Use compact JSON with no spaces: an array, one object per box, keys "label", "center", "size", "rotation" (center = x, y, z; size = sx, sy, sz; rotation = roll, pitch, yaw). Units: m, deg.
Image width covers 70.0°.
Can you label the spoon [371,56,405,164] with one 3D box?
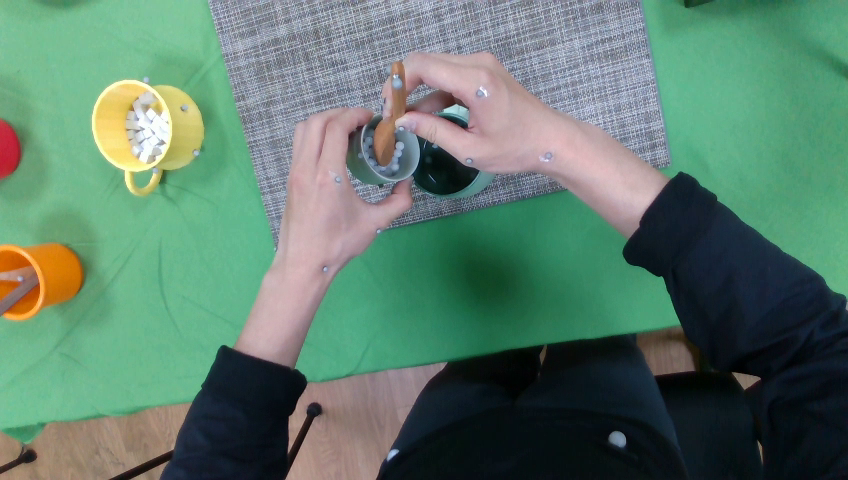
[{"label":"spoon","center":[-0.025,-0.096,0.452],"size":[0.022,0.193,0.041],"rotation":[13,82,-8]}]

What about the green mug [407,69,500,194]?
[{"label":"green mug","center":[0.028,-0.107,0.608],"size":[0.092,0.105,0.125],"rotation":[5,100,11]}]

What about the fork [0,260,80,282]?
[{"label":"fork","center":[-0.530,0.041,0.721],"size":[0.208,0.018,0.028],"rotation":[-2,99,-33]}]

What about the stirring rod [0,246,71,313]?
[{"label":"stirring rod","center":[-0.500,0.071,0.726],"size":[0.014,0.006,0.175],"rotation":[38,62,1]}]

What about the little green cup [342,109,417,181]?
[{"label":"little green cup","center":[-0.042,-0.081,0.537],"size":[0.038,0.062,0.061],"rotation":[-8,100,52]}]

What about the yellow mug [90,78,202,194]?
[{"label":"yellow mug","center":[-0.319,-0.117,0.697],"size":[0.100,0.064,0.131],"rotation":[13,103,8]}]
